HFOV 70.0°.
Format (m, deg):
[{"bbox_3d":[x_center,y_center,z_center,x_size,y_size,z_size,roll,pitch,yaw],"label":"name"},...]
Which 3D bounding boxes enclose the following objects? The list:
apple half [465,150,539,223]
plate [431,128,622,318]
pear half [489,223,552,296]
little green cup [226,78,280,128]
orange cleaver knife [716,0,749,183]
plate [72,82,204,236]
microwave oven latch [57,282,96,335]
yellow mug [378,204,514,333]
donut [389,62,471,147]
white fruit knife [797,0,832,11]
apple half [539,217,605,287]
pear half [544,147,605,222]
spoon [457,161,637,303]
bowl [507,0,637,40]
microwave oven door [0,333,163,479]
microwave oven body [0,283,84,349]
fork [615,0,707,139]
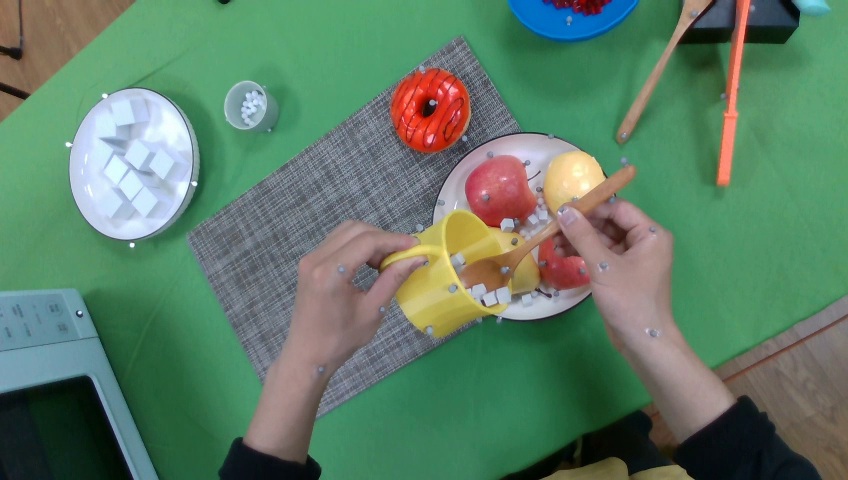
[{"bbox_3d":[0.083,-0.058,0.666,0.074,0.053,0.080,-15,88,17],"label":"apple half"},{"bbox_3d":[0.112,-0.019,0.675,0.208,0.038,0.209,0,89,17],"label":"plate"},{"bbox_3d":[0.094,0.029,0.665,0.109,0.056,0.076,33,103,12],"label":"pear half"},{"bbox_3d":[-0.217,-0.173,0.779,0.061,0.039,0.061,0,89,18],"label":"little green cup"},{"bbox_3d":[0.306,-0.164,0.598,0.012,0.077,0.213,5,117,22],"label":"orange cleaver knife"},{"bbox_3d":[-0.387,-0.109,0.830,0.207,0.039,0.207,0,90,17],"label":"plate"},{"bbox_3d":[-0.486,0.097,0.839,0.030,0.029,0.079,-27,83,14],"label":"microwave oven latch"},{"bbox_3d":[0.015,0.023,0.528,0.064,0.132,0.099,-28,62,33],"label":"yellow mug"},{"bbox_3d":[0.006,-0.157,0.704,0.098,0.048,0.099,0,92,19],"label":"donut"},{"bbox_3d":[0.319,-0.301,0.579,0.027,0.016,0.206,-26,79,-14],"label":"white fruit knife"},{"bbox_3d":[0.150,0.014,0.646,0.080,0.033,0.081,7,102,38],"label":"apple half"},{"bbox_3d":[0.156,-0.054,0.647,0.070,0.031,0.088,1,100,41],"label":"pear half"},{"bbox_3d":[0.097,-0.003,0.510,0.194,0.022,0.041,-40,74,33],"label":"spoon"},{"bbox_3d":[0.162,-0.279,0.645,0.151,0.077,0.151,0,90,17],"label":"bowl"},{"bbox_3d":[-0.418,0.288,0.711,0.039,0.245,0.354,-30,81,14],"label":"microwave oven door"},{"bbox_3d":[-0.558,0.321,0.758,0.326,0.261,0.440,-30,82,14],"label":"microwave oven body"},{"bbox_3d":[0.247,-0.195,0.614,0.028,0.018,0.208,26,117,7],"label":"fork"}]
